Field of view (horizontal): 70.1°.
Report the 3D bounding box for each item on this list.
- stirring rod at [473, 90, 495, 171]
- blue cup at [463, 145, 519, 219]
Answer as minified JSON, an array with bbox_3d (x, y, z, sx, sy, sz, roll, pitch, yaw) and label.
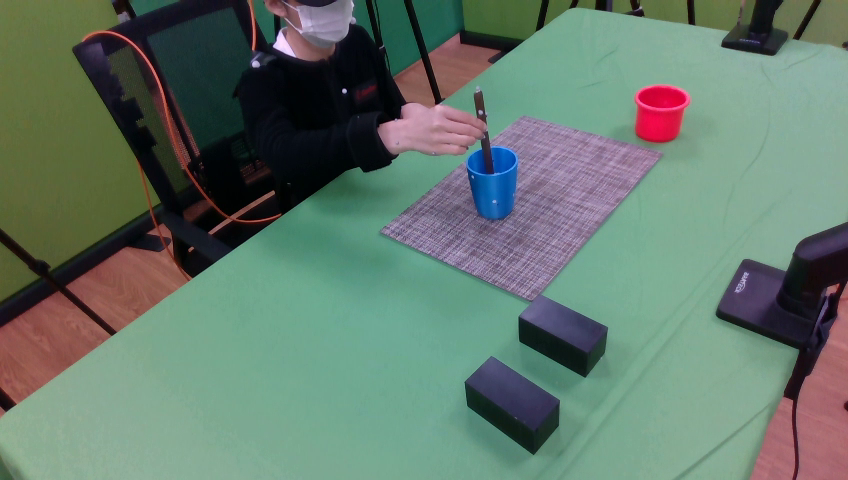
[{"bbox_3d":[0.095,-0.155,0.934,0.014,0.177,0.005,-28,46,-11],"label":"stirring rod"},{"bbox_3d":[0.115,-0.090,0.997,0.092,0.101,0.092,-5,41,5],"label":"blue cup"}]
